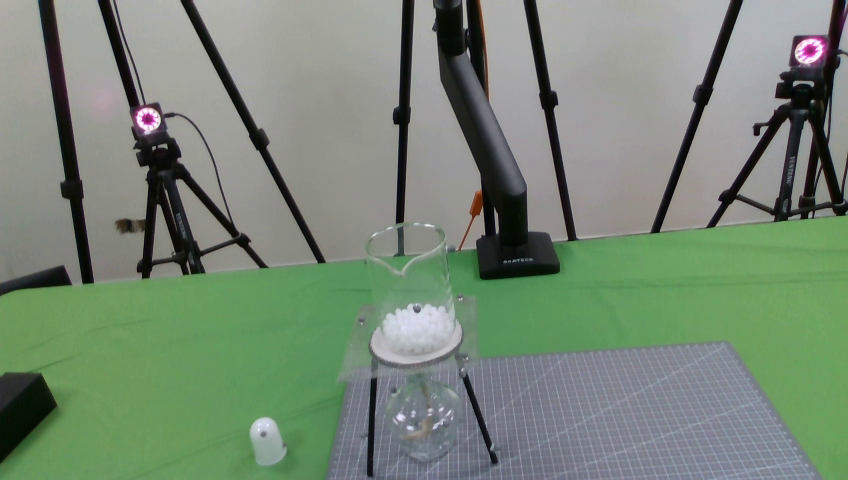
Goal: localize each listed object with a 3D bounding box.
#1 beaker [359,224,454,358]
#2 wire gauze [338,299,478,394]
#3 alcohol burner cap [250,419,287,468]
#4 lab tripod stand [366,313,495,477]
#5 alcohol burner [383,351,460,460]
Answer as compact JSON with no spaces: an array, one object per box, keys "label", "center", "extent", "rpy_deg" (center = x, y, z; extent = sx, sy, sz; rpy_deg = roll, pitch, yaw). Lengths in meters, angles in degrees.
[{"label":"beaker","center":[-0.012,0.048,0.536],"extent":[0.074,0.101,0.083],"rpy_deg":[-6,26,7]},{"label":"wire gauze","center":[-0.012,0.091,0.559],"extent":[0.121,0.011,0.124],"rpy_deg":[-7,28,6]},{"label":"alcohol burner cap","center":[-0.162,0.206,0.624],"extent":[0.034,0.048,0.033],"rpy_deg":[-5,28,3]},{"label":"lab tripod stand","center":[-0.003,0.147,0.592],"extent":[0.148,0.132,0.147],"rpy_deg":[-7,25,4]},{"label":"alcohol burner","center":[-0.004,0.157,0.596],"extent":[0.078,0.120,0.077],"rpy_deg":[-4,28,3]}]
